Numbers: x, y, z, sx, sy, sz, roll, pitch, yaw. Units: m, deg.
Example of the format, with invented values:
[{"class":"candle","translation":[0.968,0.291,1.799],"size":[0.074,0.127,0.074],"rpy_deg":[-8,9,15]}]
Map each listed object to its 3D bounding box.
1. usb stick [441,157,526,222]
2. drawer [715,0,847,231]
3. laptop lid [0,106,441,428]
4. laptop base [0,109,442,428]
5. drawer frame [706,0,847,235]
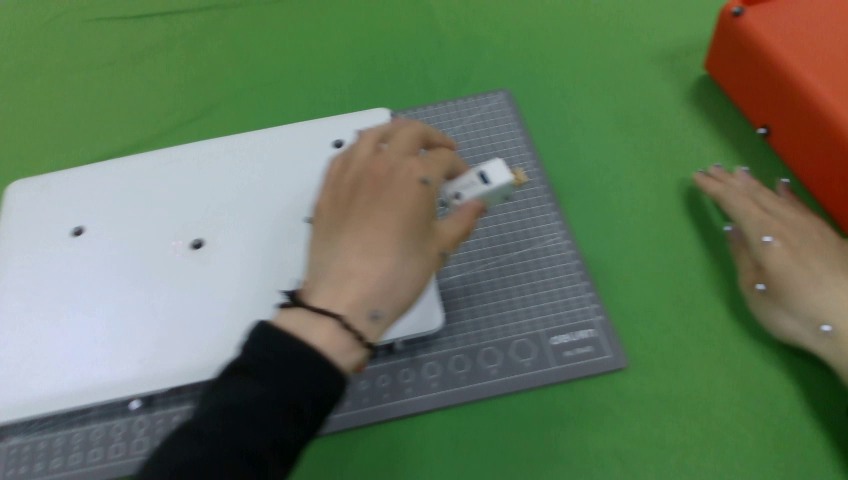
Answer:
[{"class":"usb stick","translation":[0.042,-0.037,0.413],"size":[0.059,0.027,0.021],"rpy_deg":[-24,61,-10]},{"class":"drawer","translation":[0.384,-0.123,0.493],"size":[0.194,0.074,0.209],"rpy_deg":[-16,55,-4]},{"class":"laptop lid","translation":[-0.179,0.006,0.486],"size":[0.357,0.013,0.239],"rpy_deg":[-10,57,-1]},{"class":"laptop base","translation":[-0.178,0.011,0.497],"size":[0.354,0.023,0.233],"rpy_deg":[-12,59,-2]},{"class":"drawer frame","translation":[0.383,-0.125,0.494],"size":[0.202,0.083,0.211],"rpy_deg":[-17,55,-5]}]
